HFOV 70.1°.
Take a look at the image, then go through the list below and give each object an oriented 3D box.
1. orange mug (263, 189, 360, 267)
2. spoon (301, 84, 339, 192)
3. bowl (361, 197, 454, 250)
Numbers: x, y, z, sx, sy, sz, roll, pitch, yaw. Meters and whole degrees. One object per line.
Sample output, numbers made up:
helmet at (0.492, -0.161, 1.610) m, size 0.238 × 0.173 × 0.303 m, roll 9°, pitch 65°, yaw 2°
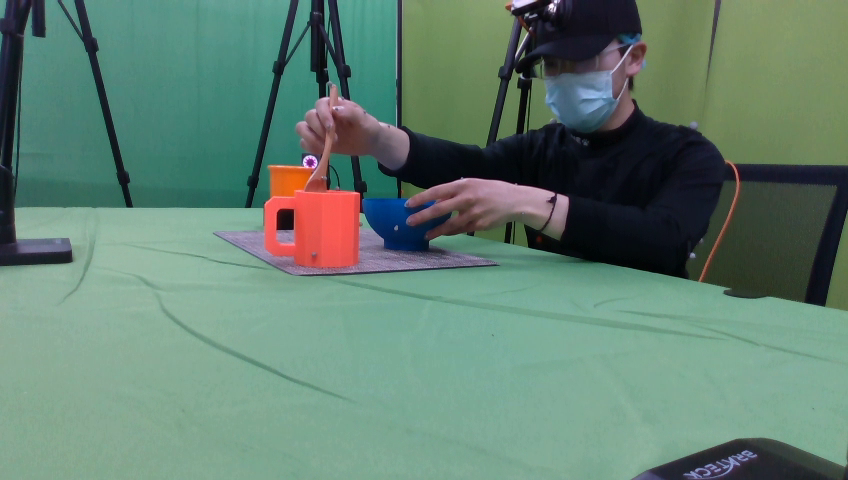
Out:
orange mug at (-0.147, -0.019, 0.795) m, size 0.127 × 0.100 × 0.083 m, roll 5°, pitch 6°, yaw -19°
spoon at (-0.134, -0.123, 0.816) m, size 0.042 × 0.193 × 0.021 m, roll 16°, pitch -13°, yaw -30°
bowl at (-0.028, -0.028, 0.984) m, size 0.151 × 0.077 × 0.151 m, roll 2°, pitch 7°, yaw 0°
